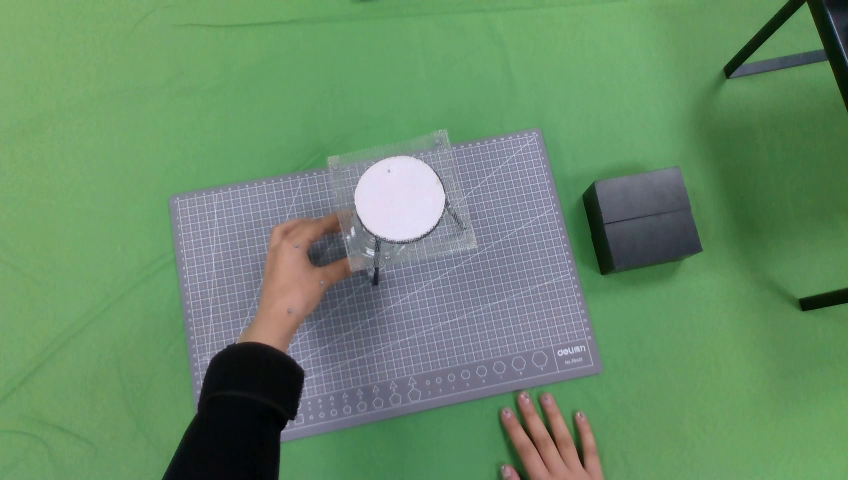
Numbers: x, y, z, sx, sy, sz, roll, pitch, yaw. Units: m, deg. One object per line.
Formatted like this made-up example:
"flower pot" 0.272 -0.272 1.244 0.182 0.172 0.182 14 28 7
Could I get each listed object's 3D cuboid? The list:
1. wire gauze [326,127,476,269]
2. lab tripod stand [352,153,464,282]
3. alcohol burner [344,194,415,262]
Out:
"wire gauze" -0.023 -0.041 0.578 0.125 0.011 0.121 -12 78 -3
"lab tripod stand" -0.028 -0.031 0.646 0.148 0.132 0.147 0 79 1
"alcohol burner" -0.049 -0.016 0.652 0.078 0.119 0.077 0 79 0
